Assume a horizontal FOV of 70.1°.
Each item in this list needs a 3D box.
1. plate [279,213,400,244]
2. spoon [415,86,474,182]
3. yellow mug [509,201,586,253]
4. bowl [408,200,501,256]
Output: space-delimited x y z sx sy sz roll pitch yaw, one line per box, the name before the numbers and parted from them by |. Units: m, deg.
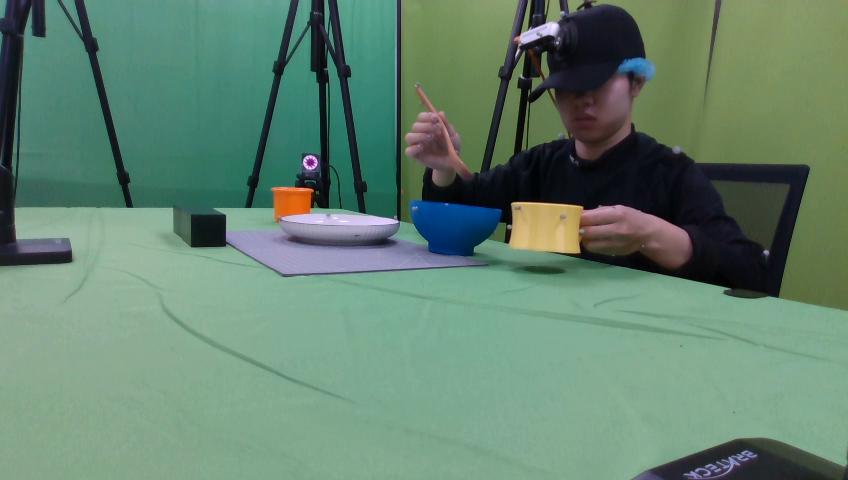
plate | -0.147 -0.020 1.060 0.209 0.038 0.209 3 7 0
spoon | 0.033 -0.178 1.009 0.022 0.193 0.041 -23 -15 -7
yellow mug | 0.184 -0.017 0.856 0.131 0.064 0.099 4 1 -36
bowl | 0.045 -0.018 0.967 0.151 0.077 0.151 6 5 0
